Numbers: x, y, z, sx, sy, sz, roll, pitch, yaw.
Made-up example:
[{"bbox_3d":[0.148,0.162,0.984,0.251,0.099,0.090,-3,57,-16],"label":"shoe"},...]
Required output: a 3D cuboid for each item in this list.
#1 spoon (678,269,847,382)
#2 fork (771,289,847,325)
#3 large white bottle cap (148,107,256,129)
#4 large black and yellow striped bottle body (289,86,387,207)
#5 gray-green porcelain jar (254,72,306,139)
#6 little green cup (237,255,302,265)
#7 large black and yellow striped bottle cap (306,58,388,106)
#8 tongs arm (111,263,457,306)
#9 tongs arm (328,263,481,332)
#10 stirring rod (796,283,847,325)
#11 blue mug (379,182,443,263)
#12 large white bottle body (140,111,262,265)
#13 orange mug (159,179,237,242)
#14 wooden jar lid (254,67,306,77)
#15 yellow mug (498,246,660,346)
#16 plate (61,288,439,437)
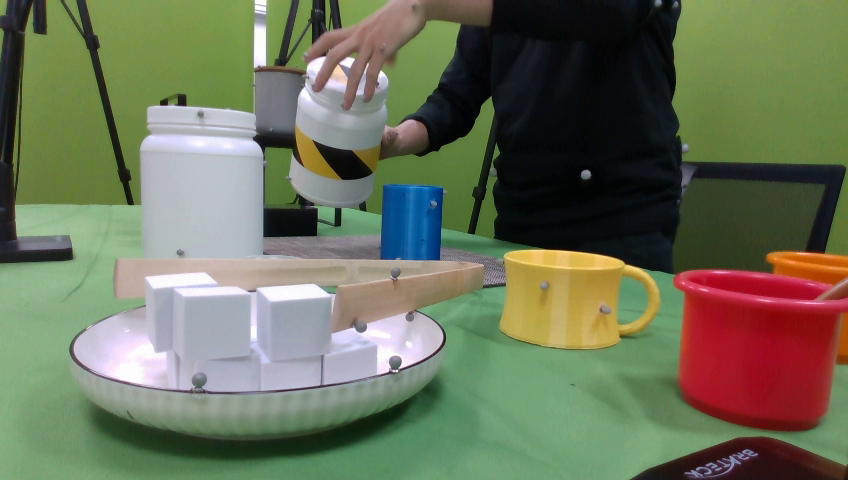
[{"bbox_3d":[0.229,0.031,0.338,0.193,0.021,0.042,-44,-16,27],"label":"spoon"},{"bbox_3d":[0.335,0.018,0.443,0.028,0.018,0.207,-1,-36,-20],"label":"fork"},{"bbox_3d":[-0.250,-0.137,0.686,0.115,0.018,0.115,3,8,0],"label":"large white bottle cap"},{"bbox_3d":[-0.127,-0.156,0.903,0.131,0.184,0.130,11,36,-8],"label":"large black and yellow striped bottle body"},{"bbox_3d":[-0.298,-0.277,1.259,0.106,0.126,0.106,3,7,0],"label":"gray-green porcelain jar"},{"bbox_3d":[-0.150,0.037,0.590,0.061,0.038,0.061,3,6,0],"label":"little green cup"},{"bbox_3d":[-0.108,-0.224,0.851,0.115,0.019,0.115,8,39,-6],"label":"large black and yellow striped bottle cap"},{"bbox_3d":[-0.080,0.033,0.526,0.028,0.027,0.389,-4,-4,33],"label":"tongs arm"},{"bbox_3d":[-0.003,0.036,0.493,0.050,0.026,0.386,1,-1,19],"label":"tongs arm"},{"bbox_3d":[0.347,0.019,0.460,0.014,0.176,0.006,-16,59,-26],"label":"stirring rod"},{"bbox_3d":[-0.020,-0.026,0.833,0.082,0.106,0.116,1,7,-7],"label":"blue mug"},{"bbox_3d":[-0.254,-0.053,0.697,0.131,0.184,0.130,2,7,0],"label":"large white bottle body"},{"bbox_3d":[-0.368,-0.052,0.991,0.127,0.101,0.083,-10,14,-41],"label":"orange mug"},{"bbox_3d":[-0.296,-0.339,1.251,0.108,0.020,0.108,2,7,0],"label":"wooden jar lid"},{"bbox_3d":[0.130,0.045,0.508,0.131,0.064,0.100,4,7,6],"label":"yellow mug"},{"bbox_3d":[-0.095,0.069,0.362,0.208,0.039,0.207,2,7,0],"label":"plate"}]
